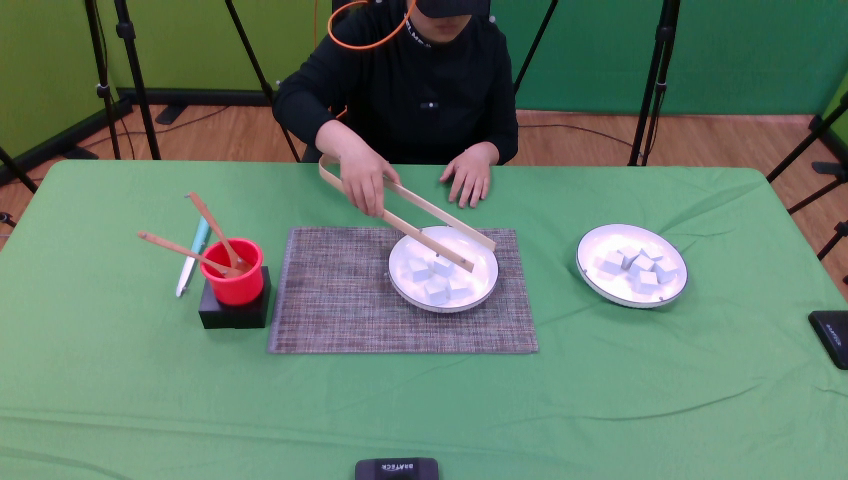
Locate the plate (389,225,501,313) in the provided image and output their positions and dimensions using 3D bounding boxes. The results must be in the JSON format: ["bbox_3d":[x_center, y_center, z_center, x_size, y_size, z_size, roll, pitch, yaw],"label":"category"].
[{"bbox_3d":[0.038,0.057,1.129,0.208,0.039,0.206,2,46,-2],"label":"plate"}]

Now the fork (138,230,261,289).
[{"bbox_3d":[-0.360,0.032,0.981,0.208,0.018,0.028,31,60,-30],"label":"fork"}]

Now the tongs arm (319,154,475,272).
[{"bbox_3d":[-0.057,-0.056,1.123,0.383,0.026,0.050,31,53,20],"label":"tongs arm"}]

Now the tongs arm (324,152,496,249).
[{"bbox_3d":[-0.032,-0.080,1.147,0.386,0.028,0.028,30,56,19],"label":"tongs arm"}]

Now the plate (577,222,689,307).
[{"bbox_3d":[0.396,0.050,1.165,0.209,0.038,0.208,2,47,-2],"label":"plate"}]

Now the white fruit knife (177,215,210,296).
[{"bbox_3d":[-0.435,0.025,1.148,0.027,0.016,0.206,-18,45,18],"label":"white fruit knife"}]

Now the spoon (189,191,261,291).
[{"bbox_3d":[-0.333,0.001,1.012,0.041,0.194,0.021,-34,15,-25],"label":"spoon"}]
